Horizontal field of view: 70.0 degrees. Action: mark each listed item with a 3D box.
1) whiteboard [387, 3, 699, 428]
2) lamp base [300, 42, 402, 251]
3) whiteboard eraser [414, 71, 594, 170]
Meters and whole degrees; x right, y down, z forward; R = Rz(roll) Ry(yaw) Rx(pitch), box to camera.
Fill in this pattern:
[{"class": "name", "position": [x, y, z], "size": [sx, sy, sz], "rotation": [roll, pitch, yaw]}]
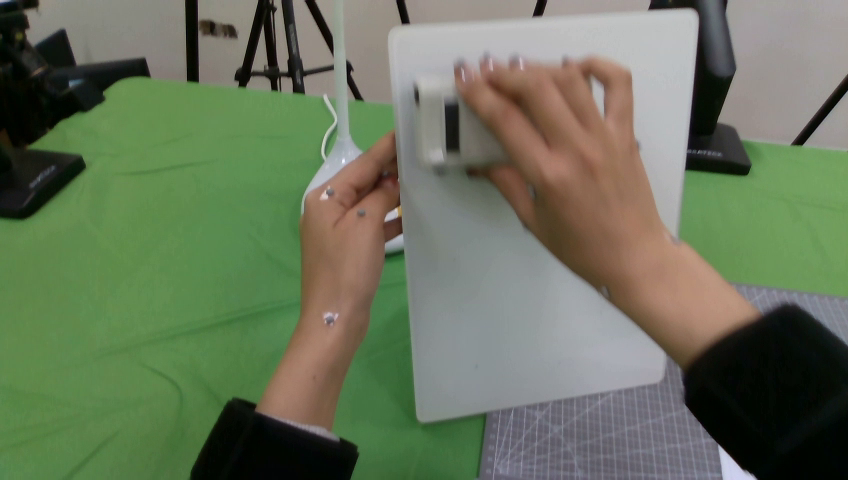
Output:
[{"class": "whiteboard", "position": [0.080, -0.028, 0.509], "size": [0.217, 0.307, 0.142], "rotation": [-7, 21, -9]}, {"class": "lamp base", "position": [-0.066, -0.107, 0.649], "size": [0.161, 0.182, 0.177], "rotation": [-26, 45, -29]}, {"class": "whiteboard eraser", "position": [0.051, -0.077, 0.391], "size": [0.113, 0.056, 0.041], "rotation": [-5, 24, -8]}]
